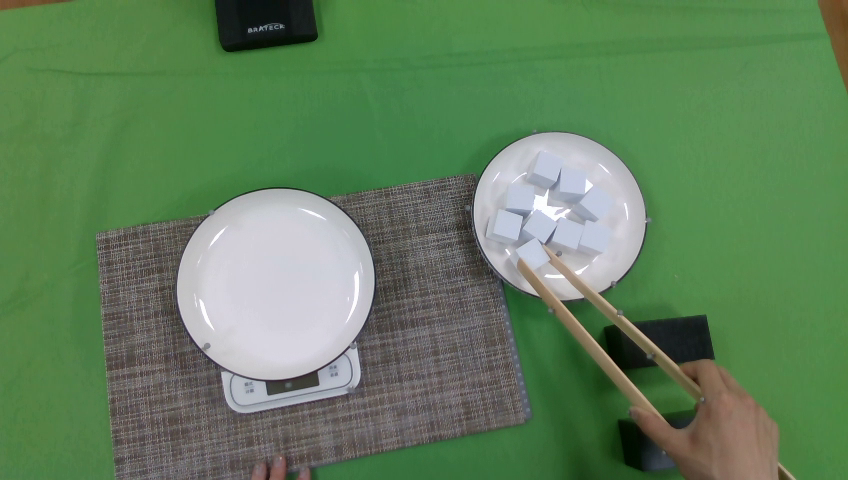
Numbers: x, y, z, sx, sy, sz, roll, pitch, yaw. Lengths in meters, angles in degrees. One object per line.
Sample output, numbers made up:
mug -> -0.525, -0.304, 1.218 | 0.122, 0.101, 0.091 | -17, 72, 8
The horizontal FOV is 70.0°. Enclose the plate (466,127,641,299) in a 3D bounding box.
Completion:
plate -> 0.151, -0.031, 0.724 | 0.208, 0.039, 0.206 | 1, 78, -4

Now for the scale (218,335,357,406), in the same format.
scale -> -0.162, 0.076, 0.680 | 0.149, 0.031, 0.200 | -9, 79, -6

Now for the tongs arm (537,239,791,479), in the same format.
tongs arm -> 0.233, 0.137, 0.606 | 0.051, 0.027, 0.381 | -33, 61, -21

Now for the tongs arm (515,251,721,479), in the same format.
tongs arm -> 0.214, 0.148, 0.599 | 0.028, 0.028, 0.383 | -27, 59, -22

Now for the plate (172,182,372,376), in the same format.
plate -> -0.160, 0.040, 0.654 | 0.209, 0.038, 0.208 | 1, 78, -4
